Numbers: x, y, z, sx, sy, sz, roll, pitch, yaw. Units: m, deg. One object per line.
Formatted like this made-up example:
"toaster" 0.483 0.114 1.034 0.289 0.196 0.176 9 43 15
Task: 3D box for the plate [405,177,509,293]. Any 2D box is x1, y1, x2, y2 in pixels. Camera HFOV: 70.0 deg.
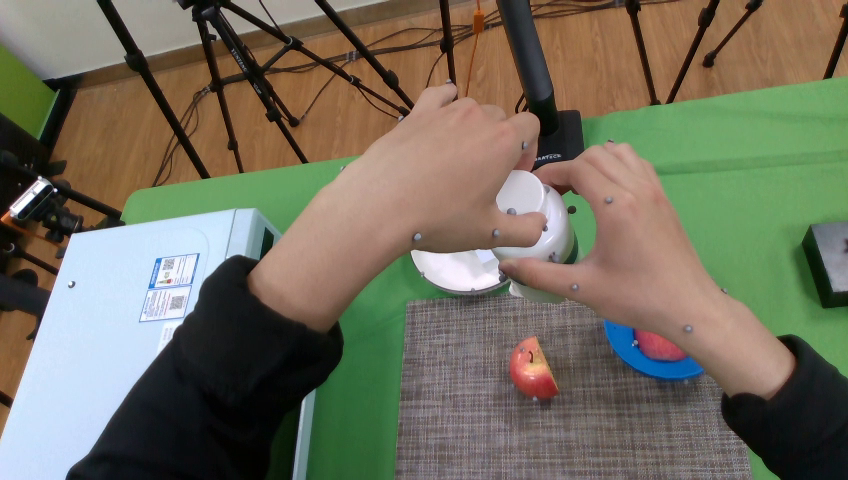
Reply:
"plate" 0.073 -0.006 0.969 0.207 0.039 0.206 -8 59 14

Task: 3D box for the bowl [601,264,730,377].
"bowl" 0.310 0.115 0.790 0.151 0.077 0.150 -8 59 15

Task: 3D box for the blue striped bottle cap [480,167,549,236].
"blue striped bottle cap" 0.060 -0.026 0.408 0.044 0.021 0.044 -8 67 20

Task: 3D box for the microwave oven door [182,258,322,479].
"microwave oven door" -0.213 0.232 0.782 0.039 0.246 0.352 -8 59 15

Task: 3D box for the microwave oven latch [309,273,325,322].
"microwave oven latch" -0.178 0.092 0.973 0.030 0.030 0.078 -7 60 14

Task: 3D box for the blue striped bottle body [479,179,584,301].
"blue striped bottle body" 0.081 -0.003 0.455 0.063 0.122 0.062 -9 62 19

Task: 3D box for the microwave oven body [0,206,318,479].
"microwave oven body" -0.351 0.217 0.842 0.325 0.263 0.438 -7 60 14

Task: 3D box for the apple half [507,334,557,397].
"apple half" 0.141 0.175 0.816 0.053 0.075 0.080 -25 60 8

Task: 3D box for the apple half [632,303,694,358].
"apple half" 0.311 0.113 0.785 0.081 0.033 0.080 -9 58 14
